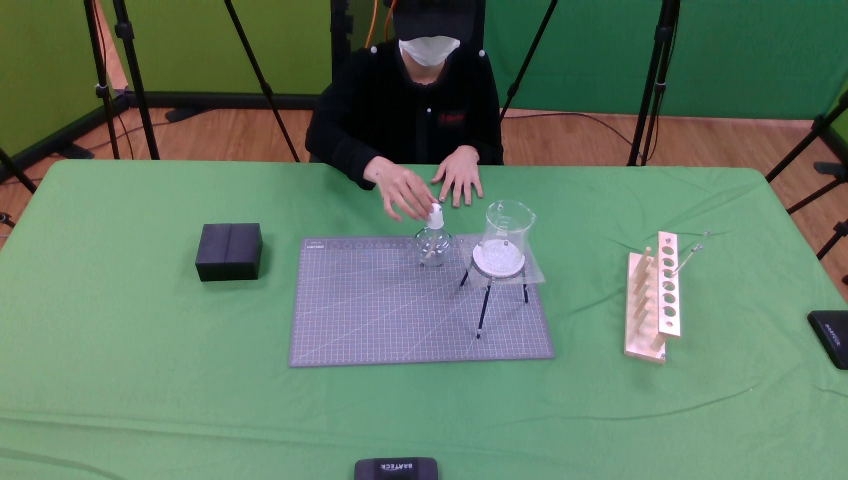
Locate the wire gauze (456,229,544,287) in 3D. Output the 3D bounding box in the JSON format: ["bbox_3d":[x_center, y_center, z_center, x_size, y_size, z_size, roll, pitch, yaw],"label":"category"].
[{"bbox_3d":[0.125,0.030,1.008,0.125,0.011,0.120,-3,48,-11],"label":"wire gauze"}]

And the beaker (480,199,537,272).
[{"bbox_3d":[0.132,-0.004,0.973,0.084,0.101,0.073,-4,47,-9],"label":"beaker"}]

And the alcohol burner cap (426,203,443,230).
[{"bbox_3d":[0.018,-0.046,1.096,0.034,0.048,0.033,-1,44,1],"label":"alcohol burner cap"}]

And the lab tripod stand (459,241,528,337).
[{"bbox_3d":[0.122,0.075,1.054,0.148,0.132,0.147,3,44,-3],"label":"lab tripod stand"}]

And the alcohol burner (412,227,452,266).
[{"bbox_3d":[0.017,-0.006,1.139,0.078,0.119,0.077,2,48,-2],"label":"alcohol burner"}]

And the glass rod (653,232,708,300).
[{"bbox_3d":[0.441,0.049,1.050,0.008,0.200,0.008,4,52,-5],"label":"glass rod"}]

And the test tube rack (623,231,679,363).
[{"bbox_3d":[0.410,0.094,1.096,0.066,0.085,0.241,13,46,9],"label":"test tube rack"}]
